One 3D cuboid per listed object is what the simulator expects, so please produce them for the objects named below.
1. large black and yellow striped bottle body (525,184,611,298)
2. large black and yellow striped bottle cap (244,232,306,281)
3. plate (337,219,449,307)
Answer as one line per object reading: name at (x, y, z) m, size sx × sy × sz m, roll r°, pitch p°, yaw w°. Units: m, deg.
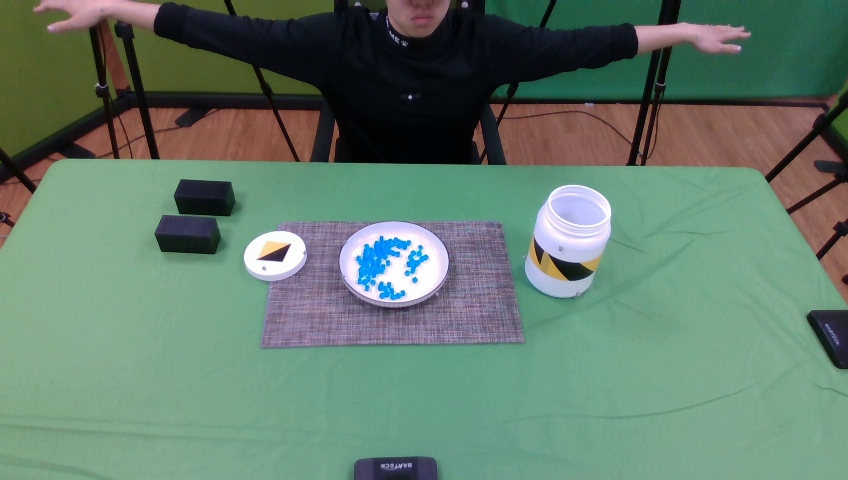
large black and yellow striped bottle body at (0.262, 0.002, 1.101) m, size 0.131 × 0.185 × 0.130 m, roll 2°, pitch 46°, yaw -2°
large black and yellow striped bottle cap at (-0.282, 0.030, 1.146) m, size 0.115 × 0.019 × 0.114 m, roll -1°, pitch 45°, yaw 1°
plate at (-0.057, 0.045, 1.132) m, size 0.208 × 0.039 × 0.206 m, roll 2°, pitch 46°, yaw -2°
